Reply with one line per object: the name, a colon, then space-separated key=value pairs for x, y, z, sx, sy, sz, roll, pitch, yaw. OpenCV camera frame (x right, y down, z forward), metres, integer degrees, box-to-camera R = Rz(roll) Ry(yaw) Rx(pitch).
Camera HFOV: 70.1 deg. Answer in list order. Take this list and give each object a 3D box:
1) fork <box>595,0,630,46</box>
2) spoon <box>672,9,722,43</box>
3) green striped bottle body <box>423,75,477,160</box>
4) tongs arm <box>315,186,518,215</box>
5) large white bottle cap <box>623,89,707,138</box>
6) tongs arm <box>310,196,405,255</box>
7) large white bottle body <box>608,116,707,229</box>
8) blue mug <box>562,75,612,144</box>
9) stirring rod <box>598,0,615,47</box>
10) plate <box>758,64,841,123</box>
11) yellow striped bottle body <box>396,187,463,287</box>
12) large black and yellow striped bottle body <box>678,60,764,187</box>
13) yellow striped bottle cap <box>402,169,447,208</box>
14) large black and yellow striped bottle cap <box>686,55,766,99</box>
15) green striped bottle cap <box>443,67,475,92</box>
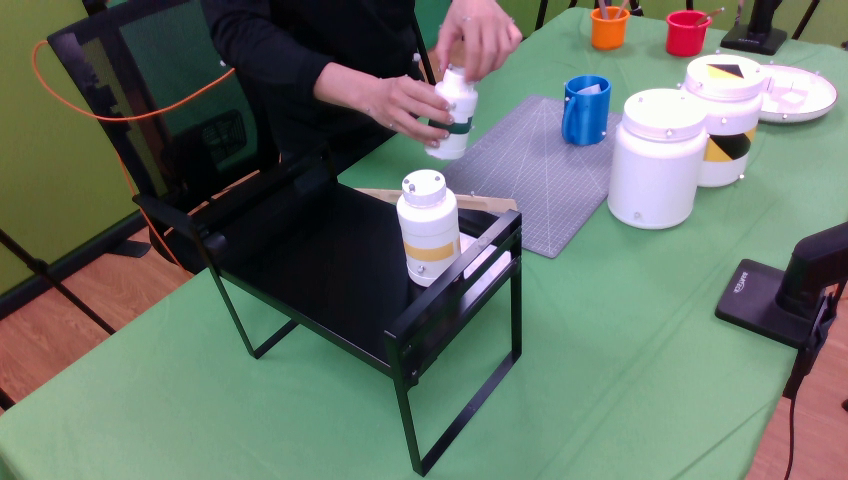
fork: x=0.479 y=-0.556 z=1.452 sx=0.028 sy=0.019 sz=0.207 roll=41 pitch=103 yaw=40
spoon: x=0.606 y=-0.476 z=1.345 sx=0.042 sy=0.021 sz=0.193 roll=-6 pitch=-3 yaw=-2
green striped bottle body: x=0.038 y=-0.180 z=0.870 sx=0.063 sy=0.119 sz=0.063 roll=8 pitch=34 yaw=-5
tongs arm: x=-0.028 y=-0.060 z=0.988 sx=0.382 sy=0.027 sz=0.051 roll=9 pitch=44 yaw=36
large white bottle cap: x=0.352 y=-0.187 z=0.886 sx=0.115 sy=0.018 sz=0.114 roll=-4 pitch=41 yaw=4
tongs arm: x=-0.078 y=-0.013 z=0.943 sx=0.028 sy=0.028 sz=0.384 roll=-42 pitch=39 yaw=-23
large white bottle body: x=0.361 y=-0.123 z=0.942 sx=0.130 sy=0.185 sz=0.130 roll=-5 pitch=41 yaw=4
blue mug: x=0.298 y=-0.239 z=1.143 sx=0.081 sy=0.106 sz=0.117 roll=30 pitch=54 yaw=36
stirring rod: x=0.437 y=-0.551 z=1.462 sx=0.014 sy=0.006 sz=0.175 roll=-11 pitch=83 yaw=1
plate: x=0.694 y=-0.283 z=1.189 sx=0.207 sy=0.039 sz=0.206 roll=-4 pitch=40 yaw=4
yellow striped bottle body: x=0.006 y=-0.013 z=0.638 sx=0.063 sy=0.121 sz=0.062 roll=-5 pitch=41 yaw=4
large black and yellow striped bottle body: x=0.482 y=-0.196 z=1.008 sx=0.131 sy=0.185 sz=0.130 roll=-4 pitch=41 yaw=4
yellow striped bottle cap: x=0.000 y=-0.052 z=0.605 sx=0.044 sy=0.019 sz=0.044 roll=-4 pitch=43 yaw=5
large black and yellow striped bottle cap: x=0.474 y=-0.258 z=0.952 sx=0.115 sy=0.019 sz=0.114 roll=-5 pitch=41 yaw=5
green striped bottle cap: x=0.049 y=-0.223 z=0.842 sx=0.044 sy=0.020 sz=0.044 roll=9 pitch=37 yaw=-6
